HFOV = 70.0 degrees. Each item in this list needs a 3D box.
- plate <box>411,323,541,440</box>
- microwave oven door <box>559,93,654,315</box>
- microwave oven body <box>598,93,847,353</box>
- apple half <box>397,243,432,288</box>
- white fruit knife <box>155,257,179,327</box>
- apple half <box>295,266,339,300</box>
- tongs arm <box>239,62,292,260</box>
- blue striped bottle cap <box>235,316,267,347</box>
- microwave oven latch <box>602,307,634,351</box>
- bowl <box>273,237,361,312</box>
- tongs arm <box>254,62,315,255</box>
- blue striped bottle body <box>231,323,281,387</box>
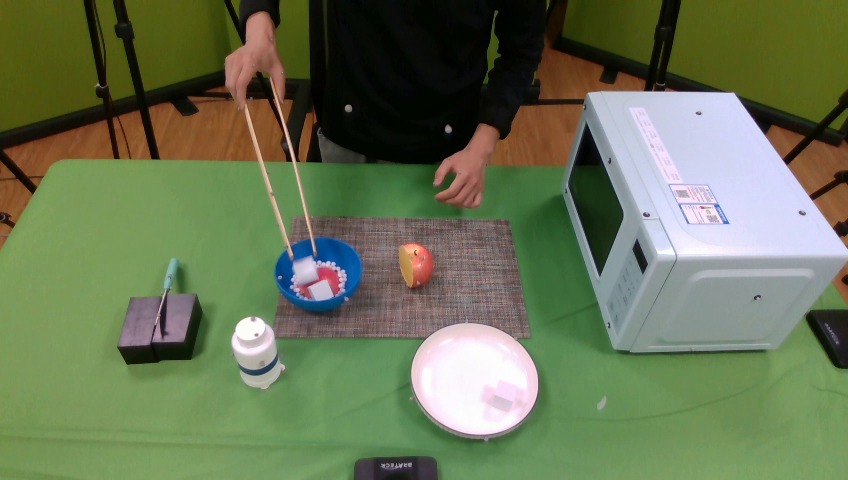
[{"bbox_3d":[0.082,0.228,0.976,0.208,0.039,0.206,2,45,-2],"label":"plate"},{"bbox_3d":[0.327,-0.074,1.123,0.039,0.245,0.353,0,46,-5],"label":"microwave oven door"},{"bbox_3d":[0.475,-0.041,1.109,0.326,0.261,0.438,-1,45,-4],"label":"microwave oven body"},{"bbox_3d":[-0.013,0.047,1.115,0.053,0.075,0.080,-10,44,-21],"label":"apple half"},{"bbox_3d":[-0.440,0.085,1.037,0.016,0.027,0.206,10,26,-19],"label":"white fruit knife"},{"bbox_3d":[-0.188,0.070,1.067,0.081,0.033,0.081,3,47,-3],"label":"apple half"},{"bbox_3d":[-0.269,-0.146,1.063,0.051,0.026,0.383,-18,73,-14],"label":"tongs arm"},{"bbox_3d":[-0.260,0.136,0.907,0.044,0.021,0.044,2,43,-2],"label":"blue striped bottle cap"},{"bbox_3d":[0.332,0.153,1.043,0.030,0.029,0.078,-1,45,-4],"label":"microwave oven latch"},{"bbox_3d":[-0.186,0.074,1.070,0.151,0.077,0.150,3,46,-3],"label":"bowl"},{"bbox_3d":[-0.244,-0.152,1.069,0.028,0.028,0.386,-15,72,-10],"label":"tongs arm"},{"bbox_3d":[-0.262,0.171,0.944,0.063,0.121,0.062,2,46,-2],"label":"blue striped bottle body"}]
